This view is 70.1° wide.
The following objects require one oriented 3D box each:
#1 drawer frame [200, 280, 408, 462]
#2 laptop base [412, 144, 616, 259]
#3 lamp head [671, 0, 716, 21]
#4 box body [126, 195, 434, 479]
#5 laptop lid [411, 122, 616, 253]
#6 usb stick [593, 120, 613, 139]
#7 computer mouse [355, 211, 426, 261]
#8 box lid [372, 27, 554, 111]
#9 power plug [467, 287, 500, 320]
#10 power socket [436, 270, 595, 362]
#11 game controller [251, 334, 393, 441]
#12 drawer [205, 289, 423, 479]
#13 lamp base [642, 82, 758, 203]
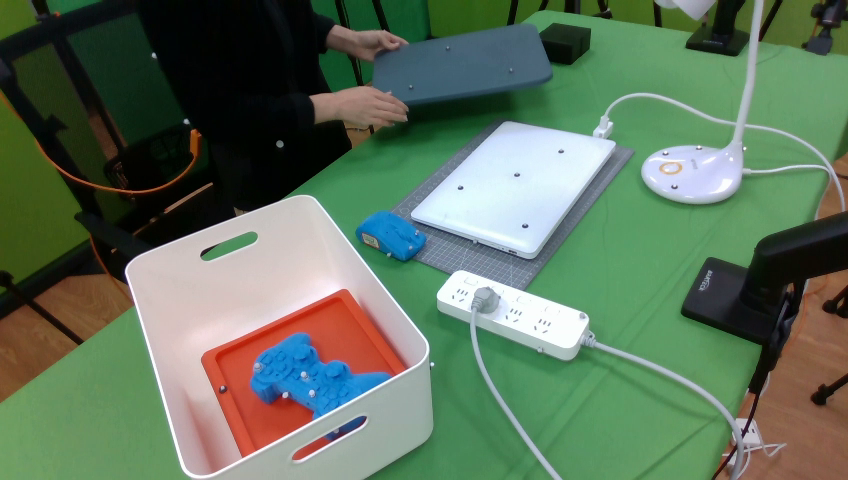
[{"bbox_3d":[-0.132,0.176,0.729,0.202,0.083,0.211,-27,50,-19],"label":"drawer frame"},{"bbox_3d":[0.168,-0.101,1.073,0.234,0.023,0.355,17,46,30],"label":"laptop base"},{"bbox_3d":[0.375,-0.373,0.807,0.122,0.113,0.112,-40,27,32],"label":"lamp head"},{"bbox_3d":[-0.175,0.131,0.737,0.255,0.161,0.360,-25,43,-19],"label":"box body"},{"bbox_3d":[0.165,-0.111,1.067,0.240,0.013,0.357,19,46,31],"label":"laptop lid"},{"bbox_3d":[0.336,-0.201,1.147,0.021,0.027,0.059,26,54,26],"label":"usb stick"},{"bbox_3d":[-0.055,-0.010,0.979,0.116,0.041,0.063,27,49,29],"label":"computer mouse"},{"bbox_3d":[0.075,-0.367,1.283,0.371,0.015,0.262,-8,43,4],"label":"box lid"},{"bbox_3d":[0.073,0.092,0.814,0.035,0.053,0.073,29,54,34],"label":"power plug"},{"bbox_3d":[0.118,0.101,0.832,0.225,0.033,0.072,19,48,27],"label":"power socket"},{"bbox_3d":[-0.120,0.156,0.676,0.154,0.052,0.097,20,51,28],"label":"game controller"},{"bbox_3d":[-0.134,0.189,0.743,0.195,0.073,0.210,-25,54,-21],"label":"drawer"},{"bbox_3d":[0.464,-0.174,0.992,0.179,0.181,0.159,-5,41,-1],"label":"lamp base"}]
